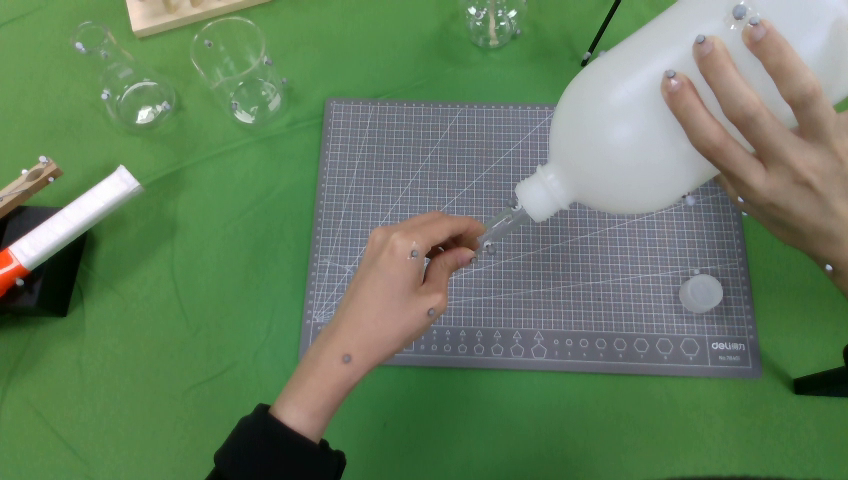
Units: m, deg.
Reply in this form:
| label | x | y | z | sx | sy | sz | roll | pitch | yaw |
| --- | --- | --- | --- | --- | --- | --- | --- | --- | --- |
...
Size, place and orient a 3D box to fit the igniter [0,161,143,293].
| label | x | y | z | sx | sy | sz | roll | pitch | yaw |
| --- | --- | --- | --- | --- | --- | --- | --- | --- | --- |
| igniter | -0.391 | 0.021 | 0.568 | 0.276 | 0.025 | 0.057 | -42 | 77 | -16 |

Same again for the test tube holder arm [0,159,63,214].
| label | x | y | z | sx | sy | sz | roll | pitch | yaw |
| --- | --- | --- | --- | --- | --- | --- | --- | --- | --- |
| test tube holder arm | -0.398 | -0.048 | 0.595 | 0.088 | 0.015 | 0.010 | -40 | 75 | -13 |

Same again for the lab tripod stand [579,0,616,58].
| label | x | y | z | sx | sy | sz | roll | pitch | yaw |
| --- | --- | --- | --- | --- | --- | --- | --- | --- | --- |
| lab tripod stand | 0.243 | -0.268 | 0.653 | 0.148 | 0.132 | 0.147 | 0 | 70 | -1 |

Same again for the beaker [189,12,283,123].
| label | x | y | z | sx | sy | sz | roll | pitch | yaw |
| --- | --- | --- | --- | --- | --- | --- | --- | --- | --- |
| beaker | -0.195 | -0.175 | 0.644 | 0.074 | 0.101 | 0.083 | 16 | 73 | 7 |

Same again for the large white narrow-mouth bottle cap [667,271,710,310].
| label | x | y | z | sx | sy | sz | roll | pitch | yaw |
| --- | --- | --- | --- | --- | --- | --- | --- | --- | --- |
| large white narrow-mouth bottle cap | 0.264 | 0.050 | 0.602 | 0.038 | 0.024 | 0.037 | 0 | 72 | 1 |

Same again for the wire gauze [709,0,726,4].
| label | x | y | z | sx | sy | sz | roll | pitch | yaw |
| --- | --- | --- | --- | --- | --- | --- | --- | --- | --- |
| wire gauze | 0.250 | -0.292 | 0.590 | 0.121 | 0.011 | 0.124 | 23 | 74 | 6 |

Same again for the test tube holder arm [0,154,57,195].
| label | x | y | z | sx | sy | sz | roll | pitch | yaw |
| --- | --- | --- | --- | --- | --- | --- | --- | --- | --- |
| test tube holder arm | -0.434 | -0.022 | 0.585 | 0.178 | 0.015 | 0.013 | -42 | 76 | -13 |

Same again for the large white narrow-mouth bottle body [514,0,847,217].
| label | x | y | z | sx | sy | sz | roll | pitch | yaw |
| --- | --- | --- | --- | --- | --- | --- | --- | --- | --- |
| large white narrow-mouth bottle body | 0.140 | -0.077 | 0.361 | 0.194 | 0.102 | 0.101 | -35 | 71 | 19 |

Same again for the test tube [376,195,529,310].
| label | x | y | z | sx | sy | sz | roll | pitch | yaw |
| --- | --- | --- | --- | --- | --- | --- | --- | --- | --- |
| test tube | 0.017 | 0.013 | 0.437 | 0.150 | 0.017 | 0.017 | -37 | 69 | 31 |

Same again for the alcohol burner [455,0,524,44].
| label | x | y | z | sx | sy | sz | roll | pitch | yaw |
| --- | --- | --- | --- | --- | --- | --- | --- | --- | --- |
| alcohol burner | 0.074 | -0.275 | 0.668 | 0.078 | 0.120 | 0.077 | 0 | 69 | 0 |

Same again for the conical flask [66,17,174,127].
| label | x | y | z | sx | sy | sz | roll | pitch | yaw |
| --- | --- | --- | --- | --- | --- | --- | --- | --- | --- |
| conical flask | -0.321 | -0.178 | 0.634 | 0.075 | 0.122 | 0.075 | 0 | 70 | 1 |

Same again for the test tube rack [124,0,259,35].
| label | x | y | z | sx | sy | sz | roll | pitch | yaw |
| --- | --- | --- | --- | --- | --- | --- | --- | --- | --- |
| test tube rack | -0.240 | -0.324 | 0.702 | 0.242 | 0.086 | 0.066 | -18 | 72 | -6 |
